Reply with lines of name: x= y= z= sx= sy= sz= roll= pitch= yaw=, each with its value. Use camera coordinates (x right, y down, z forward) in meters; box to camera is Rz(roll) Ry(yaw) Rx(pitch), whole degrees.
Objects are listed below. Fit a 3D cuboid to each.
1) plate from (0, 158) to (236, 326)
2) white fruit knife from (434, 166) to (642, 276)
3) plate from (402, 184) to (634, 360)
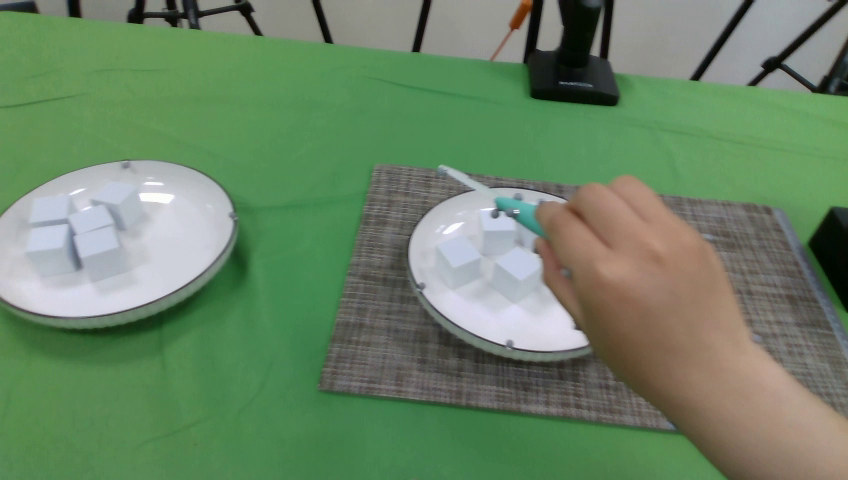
plate: x=-0.276 y=0.000 z=0.547 sx=0.209 sy=0.038 sz=0.207 roll=4 pitch=43 yaw=-3
white fruit knife: x=0.055 y=-0.021 z=0.387 sx=0.027 sy=0.016 sz=0.205 roll=8 pitch=15 yaw=-30
plate: x=0.083 y=0.027 z=0.554 sx=0.208 sy=0.039 sz=0.205 roll=3 pitch=44 yaw=-3
